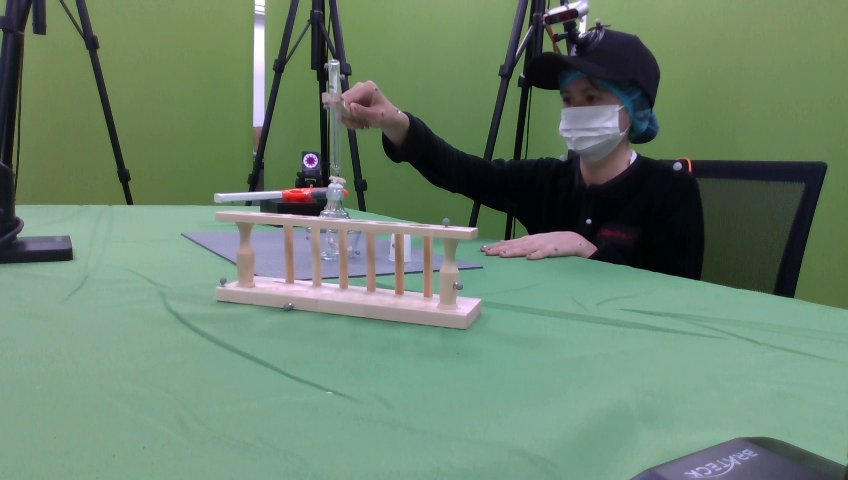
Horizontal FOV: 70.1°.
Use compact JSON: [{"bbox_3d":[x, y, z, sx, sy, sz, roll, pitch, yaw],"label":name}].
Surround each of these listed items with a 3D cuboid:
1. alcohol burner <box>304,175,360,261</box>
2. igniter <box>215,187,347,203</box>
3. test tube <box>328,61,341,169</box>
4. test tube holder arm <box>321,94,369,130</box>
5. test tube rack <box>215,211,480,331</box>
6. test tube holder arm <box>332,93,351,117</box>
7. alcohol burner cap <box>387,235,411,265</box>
[{"bbox_3d":[-0.126,-0.031,0.838,0.078,0.119,0.078,3,5,0],"label":"alcohol burner"},{"bbox_3d":[-0.293,-0.095,1.267,0.278,0.025,0.057,-6,12,-33],"label":"igniter"},{"bbox_3d":[-0.123,-0.172,0.832,0.017,0.150,0.017,-1,-2,0],"label":"test tube"},{"bbox_3d":[-0.114,-0.189,0.901,0.013,0.015,0.179,-1,-1,12],"label":"test tube holder arm"},{"bbox_3d":[-0.071,0.023,0.565,0.242,0.085,0.067,5,7,16],"label":"test tube rack"},{"bbox_3d":[-0.116,-0.191,0.856,0.010,0.015,0.088,-1,-2,3],"label":"test tube holder arm"},{"bbox_3d":[-0.035,0.009,0.839,0.034,0.048,0.034,2,6,0],"label":"alcohol burner cap"}]
